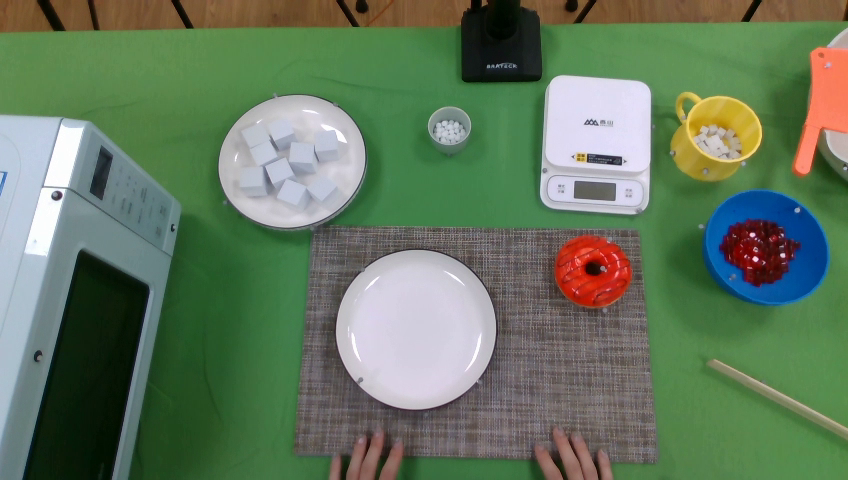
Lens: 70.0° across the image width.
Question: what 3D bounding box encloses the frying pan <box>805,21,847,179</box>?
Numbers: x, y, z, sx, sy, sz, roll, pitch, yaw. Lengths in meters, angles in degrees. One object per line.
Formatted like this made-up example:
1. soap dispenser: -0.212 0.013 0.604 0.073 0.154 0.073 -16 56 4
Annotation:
1. frying pan: 0.710 -0.095 0.790 0.307 0.103 0.483 -25 66 -5

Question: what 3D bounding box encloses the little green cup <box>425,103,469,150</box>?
1. little green cup: 0.033 -0.160 0.866 0.061 0.039 0.061 -1 72 2

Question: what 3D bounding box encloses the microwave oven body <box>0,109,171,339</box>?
1. microwave oven body: -0.517 0.103 0.682 0.326 0.261 0.439 3 74 2

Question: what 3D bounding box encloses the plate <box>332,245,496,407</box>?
1. plate: -0.012 0.109 0.781 0.209 0.038 0.208 -1 73 2

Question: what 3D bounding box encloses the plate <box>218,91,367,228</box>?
1. plate: -0.183 -0.111 0.858 0.207 0.039 0.206 0 73 2

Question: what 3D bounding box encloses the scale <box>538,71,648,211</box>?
1. scale: 0.240 -0.142 0.857 0.148 0.032 0.200 5 74 4

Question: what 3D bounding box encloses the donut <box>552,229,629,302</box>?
1. donut: 0.217 0.034 0.794 0.099 0.048 0.098 -1 73 4

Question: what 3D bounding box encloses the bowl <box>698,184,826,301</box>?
1. bowl: 0.419 0.012 0.781 0.151 0.077 0.150 0 73 2

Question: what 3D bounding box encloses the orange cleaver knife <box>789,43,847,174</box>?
1. orange cleaver knife: 0.533 -0.177 0.802 0.077 0.012 0.210 18 75 8

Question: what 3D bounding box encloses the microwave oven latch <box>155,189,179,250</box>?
1. microwave oven latch: -0.353 -0.028 0.818 0.030 0.029 0.078 5 74 3

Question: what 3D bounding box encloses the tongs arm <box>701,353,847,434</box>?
1. tongs arm: 0.519 0.242 0.732 0.386 0.028 0.028 30 68 11

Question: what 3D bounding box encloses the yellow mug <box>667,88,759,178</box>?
1. yellow mug: 0.388 -0.157 0.839 0.100 0.064 0.130 -31 73 -7

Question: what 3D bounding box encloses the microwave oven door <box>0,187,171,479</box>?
1. microwave oven door: -0.374 0.149 0.657 0.039 0.245 0.353 3 73 3
